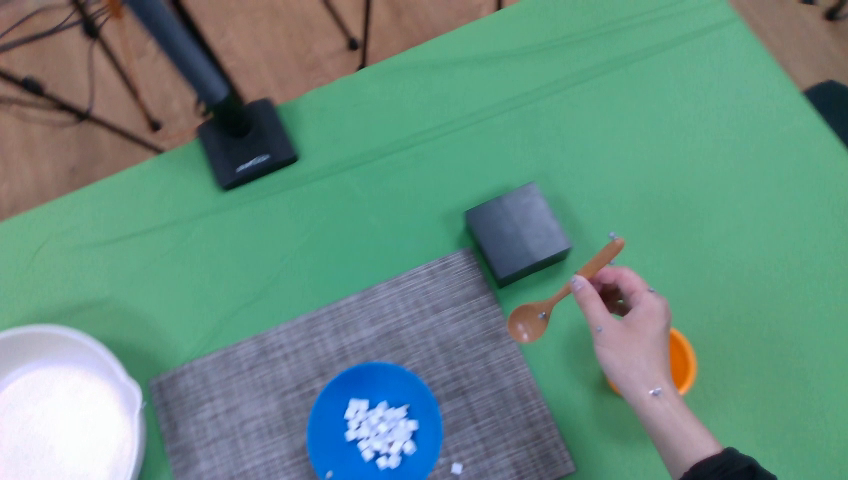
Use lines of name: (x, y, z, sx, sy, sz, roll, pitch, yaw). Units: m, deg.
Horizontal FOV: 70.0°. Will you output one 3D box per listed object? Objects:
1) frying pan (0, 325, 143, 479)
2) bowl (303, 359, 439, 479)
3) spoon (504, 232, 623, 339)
frying pan: (-0.430, 0.333, 0.675, 0.307, 0.103, 0.483, -24, 63, -3)
bowl: (-0.055, 0.217, 0.697, 0.151, 0.077, 0.150, -1, 72, 4)
spoon: (0.134, 0.049, 0.598, 0.021, 0.194, 0.041, -34, 77, -36)
